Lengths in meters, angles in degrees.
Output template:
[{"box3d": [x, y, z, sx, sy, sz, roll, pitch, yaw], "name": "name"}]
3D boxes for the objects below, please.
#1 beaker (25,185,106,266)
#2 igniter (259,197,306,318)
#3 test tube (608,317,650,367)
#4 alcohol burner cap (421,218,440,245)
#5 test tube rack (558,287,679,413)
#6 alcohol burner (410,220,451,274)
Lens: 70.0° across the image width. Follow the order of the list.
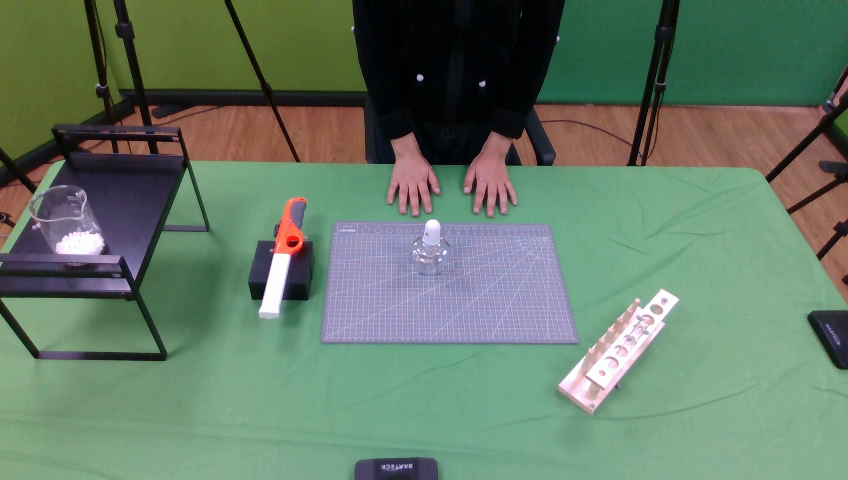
[{"box3d": [-0.507, -0.017, 0.872, 0.084, 0.101, 0.074, 23, 49, 17], "name": "beaker"}, {"box3d": [-0.252, 0.021, 1.088, 0.057, 0.025, 0.275, 4, 48, -2], "name": "igniter"}, {"box3d": [0.314, 0.168, 0.942, 0.017, 0.151, 0.017, 5, 48, -6], "name": "test tube"}, {"box3d": [0.014, -0.018, 1.095, 0.034, 0.048, 0.033, 5, 44, -5], "name": "alcohol burner cap"}, {"box3d": [0.326, 0.170, 1.009, 0.066, 0.085, 0.242, 36, 54, 27], "name": "test tube rack"}, {"box3d": [0.013, 0.007, 1.120, 0.078, 0.120, 0.077, 1, 48, -1], "name": "alcohol burner"}]
